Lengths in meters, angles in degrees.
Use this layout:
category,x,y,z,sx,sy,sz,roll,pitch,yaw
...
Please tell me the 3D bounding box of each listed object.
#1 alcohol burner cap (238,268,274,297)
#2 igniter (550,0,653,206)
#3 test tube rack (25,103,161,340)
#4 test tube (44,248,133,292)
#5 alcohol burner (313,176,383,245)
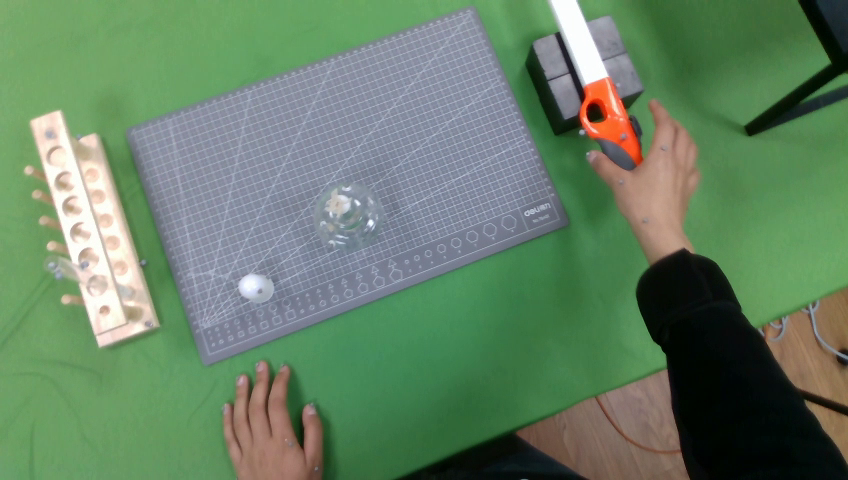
category,x,y,z,sx,sy,sz,roll,pitch,yaw
alcohol burner cap,-0.189,0.045,0.674,0.034,0.048,0.033,0,80,-1
igniter,0.196,-0.170,0.680,0.057,0.025,0.275,-19,82,4
test tube rack,-0.371,-0.016,0.661,0.067,0.085,0.241,-21,82,-4
test tube,-0.329,0.033,0.605,0.017,0.151,0.017,0,75,-1
alcohol burner,-0.084,-0.035,0.653,0.078,0.119,0.077,0,82,0
